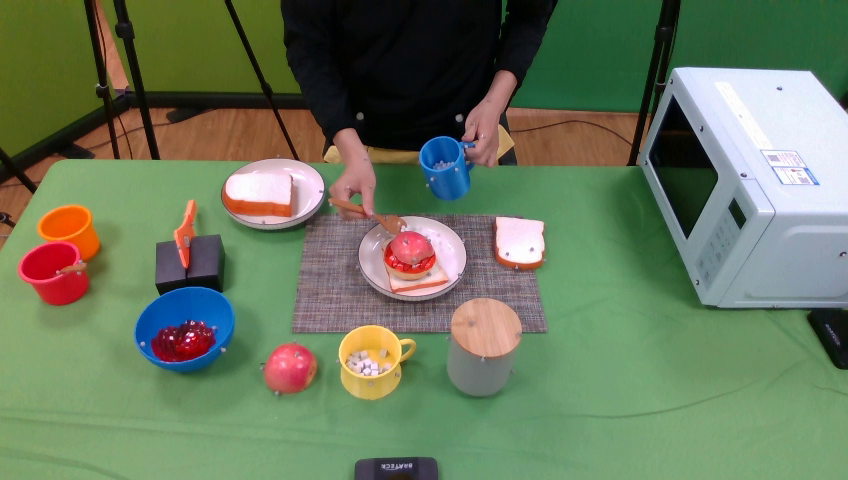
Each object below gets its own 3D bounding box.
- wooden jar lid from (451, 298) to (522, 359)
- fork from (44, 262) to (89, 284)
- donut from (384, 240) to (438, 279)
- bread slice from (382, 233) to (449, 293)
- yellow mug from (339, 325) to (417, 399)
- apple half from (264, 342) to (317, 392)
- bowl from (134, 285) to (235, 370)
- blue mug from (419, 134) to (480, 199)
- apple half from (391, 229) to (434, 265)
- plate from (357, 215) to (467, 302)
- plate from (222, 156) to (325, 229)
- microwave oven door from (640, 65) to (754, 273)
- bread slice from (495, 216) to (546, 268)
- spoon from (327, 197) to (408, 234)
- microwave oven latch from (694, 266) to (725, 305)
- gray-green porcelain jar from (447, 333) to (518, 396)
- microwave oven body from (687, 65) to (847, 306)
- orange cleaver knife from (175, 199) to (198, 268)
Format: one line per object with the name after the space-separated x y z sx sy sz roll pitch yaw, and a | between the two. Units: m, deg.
0.093 0.135 0.914 0.108 0.021 0.107 2 48 -3 | wooden jar lid
-0.598 0.054 1.014 0.207 0.019 0.028 -15 29 45 | fork
-0.025 0.029 1.109 0.099 0.048 0.098 2 46 -2 | donut
-0.026 0.040 1.142 0.107 0.018 0.133 -13 52 -13 | bread slice
-0.072 0.190 0.978 0.131 0.064 0.099 -17 50 -20 | yellow mug
-0.214 0.198 0.970 0.074 0.053 0.080 19 48 10 | apple half
-0.377 0.155 0.981 0.151 0.077 0.150 2 46 -2 | bowl
0.057 -0.149 1.170 0.116 0.106 0.082 -32 60 -3 | blue mug
-0.021 0.003 1.085 0.081 0.033 0.081 7 45 -7 | apple half
-0.022 0.037 1.141 0.208 0.039 0.206 2 47 -2 | plate
-0.308 -0.095 1.251 0.209 0.038 0.208 2 46 -2 | plate
0.523 -0.147 1.193 0.039 0.245 0.353 0 47 -3 | microwave oven door
0.194 0.002 1.205 0.105 0.019 0.131 5 45 2 | bread slice
-0.097 -0.048 1.084 0.021 0.195 0.041 -19 64 33 | spoon
0.523 0.082 1.115 0.030 0.029 0.078 3 46 0 | microwave oven latch
0.091 0.178 0.960 0.106 0.127 0.105 2 46 -2 | gray-green porcelain jar
0.669 -0.111 1.176 0.326 0.261 0.439 0 46 -3 | microwave oven body
-0.438 -0.017 1.138 0.012 0.077 0.210 -13 27 -7 | orange cleaver knife
